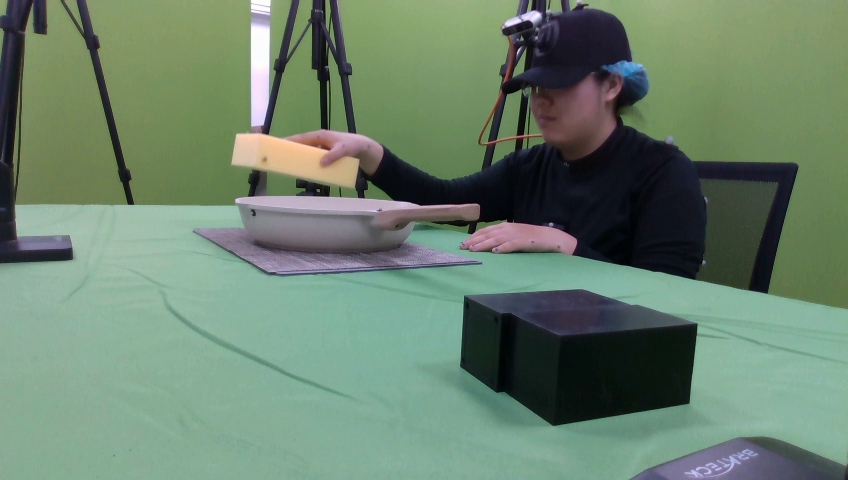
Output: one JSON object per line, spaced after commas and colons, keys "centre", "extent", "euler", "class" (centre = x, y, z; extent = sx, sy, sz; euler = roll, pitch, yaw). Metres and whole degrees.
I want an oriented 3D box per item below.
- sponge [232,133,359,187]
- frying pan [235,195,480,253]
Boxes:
{"centre": [-0.243, -0.152, 1.155], "extent": [0.208, 0.061, 0.117], "euler": [9, 2, -39], "class": "sponge"}
{"centre": [-0.090, -0.034, 0.891], "extent": [0.308, 0.102, 0.485], "euler": [-4, 2, -36], "class": "frying pan"}
